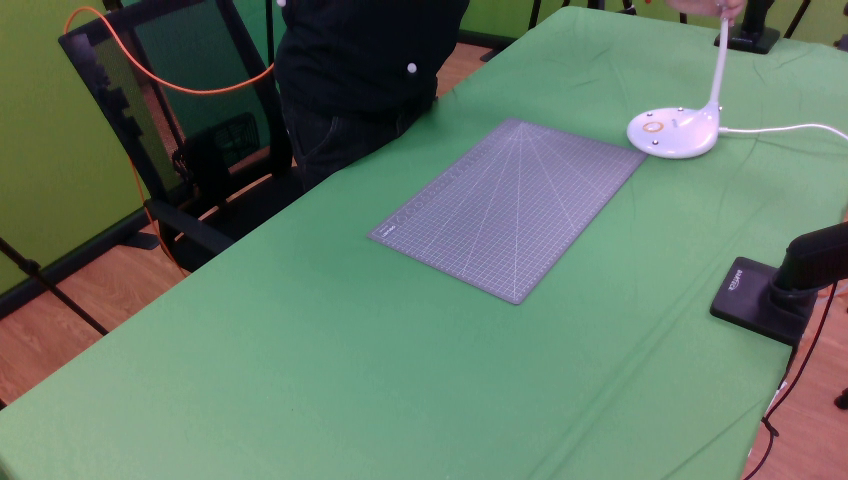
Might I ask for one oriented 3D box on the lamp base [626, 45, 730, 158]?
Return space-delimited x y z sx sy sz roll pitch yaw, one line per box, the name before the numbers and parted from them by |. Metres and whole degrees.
lamp base | 0.468 -0.262 1.086 0.179 0.181 0.159 -4 41 0
